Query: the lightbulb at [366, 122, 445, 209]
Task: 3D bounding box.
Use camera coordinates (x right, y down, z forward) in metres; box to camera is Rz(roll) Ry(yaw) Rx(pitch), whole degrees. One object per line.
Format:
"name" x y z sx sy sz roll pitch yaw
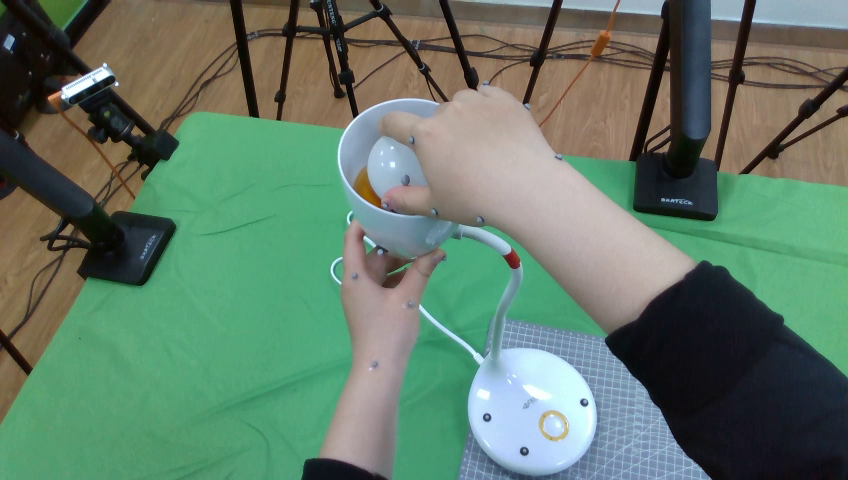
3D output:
"lightbulb" -0.014 -0.049 0.476 0.059 0.108 0.059 0 68 0

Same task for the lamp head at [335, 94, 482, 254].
"lamp head" -0.009 -0.040 0.500 0.112 0.124 0.111 -1 60 3

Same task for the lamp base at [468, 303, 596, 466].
"lamp base" 0.119 0.154 0.707 0.177 0.182 0.160 33 65 27
